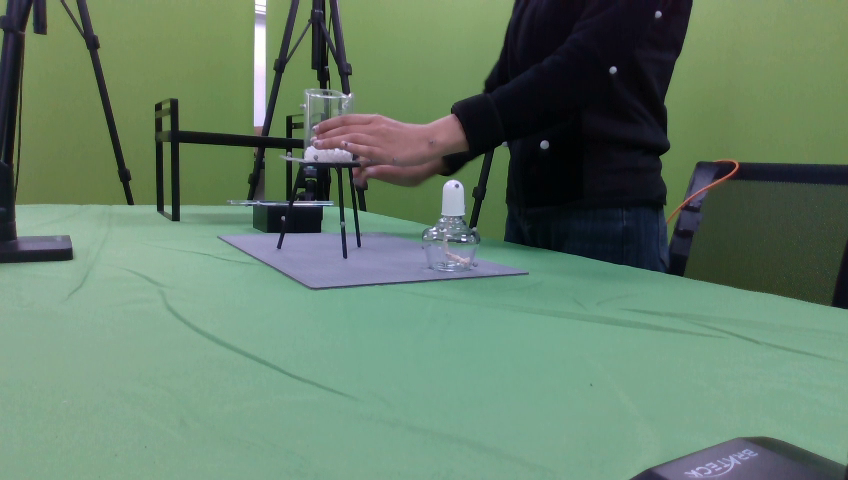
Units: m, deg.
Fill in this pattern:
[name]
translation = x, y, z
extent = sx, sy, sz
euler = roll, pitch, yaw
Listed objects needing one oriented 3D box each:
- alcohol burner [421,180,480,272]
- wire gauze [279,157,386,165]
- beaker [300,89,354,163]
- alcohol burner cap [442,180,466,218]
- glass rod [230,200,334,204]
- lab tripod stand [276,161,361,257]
[alcohol burner]
translation = 0.036, -0.018, 0.785
extent = 0.078, 0.119, 0.078
euler = 4, 5, 0
[wire gauze]
translation = -0.134, -0.113, 0.875
extent = 0.122, 0.011, 0.124
euler = -1, 6, -30
[beaker]
translation = -0.137, -0.161, 0.869
extent = 0.083, 0.100, 0.074
euler = 9, 10, 42
[alcohol burner cap]
translation = 0.039, -0.053, 0.781
extent = 0.034, 0.048, 0.034
euler = 0, 11, 0
[glass rod]
translation = -0.265, -0.071, 1.144
extent = 0.201, 0.008, 0.008
euler = -1, 8, -31
[lab tripod stand]
translation = -0.143, -0.049, 0.884
extent = 0.148, 0.131, 0.148
euler = 2, 9, 0
